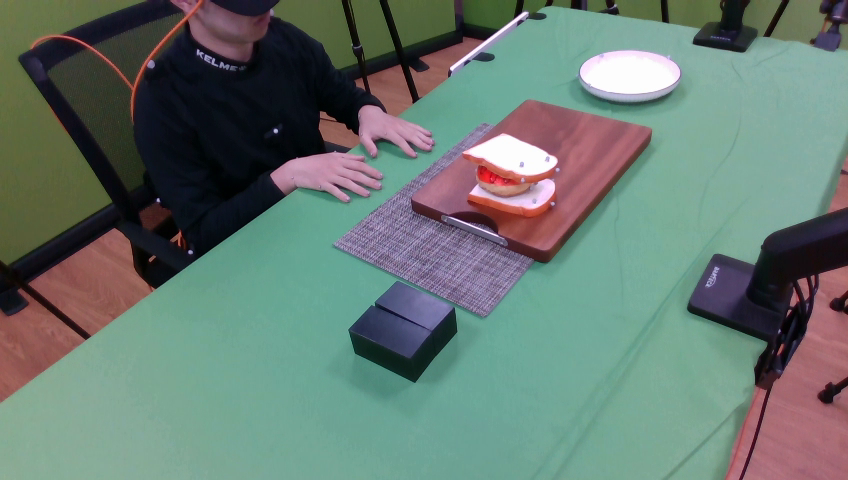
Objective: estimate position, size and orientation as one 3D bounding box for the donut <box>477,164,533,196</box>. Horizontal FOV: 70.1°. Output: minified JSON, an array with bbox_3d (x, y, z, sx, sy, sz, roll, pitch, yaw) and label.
[{"bbox_3d":[0.136,-0.109,0.991,0.099,0.048,0.098,-4,39,3],"label":"donut"}]

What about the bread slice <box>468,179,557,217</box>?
[{"bbox_3d":[0.154,-0.083,1.004,0.130,0.019,0.105,19,48,29],"label":"bread slice"}]

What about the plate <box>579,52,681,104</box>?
[{"bbox_3d":[0.437,-0.343,1.294,0.209,0.038,0.208,-4,40,4],"label":"plate"}]

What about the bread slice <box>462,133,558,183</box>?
[{"bbox_3d":[0.146,-0.131,0.971,0.133,0.018,0.107,29,43,32],"label":"bread slice"}]
